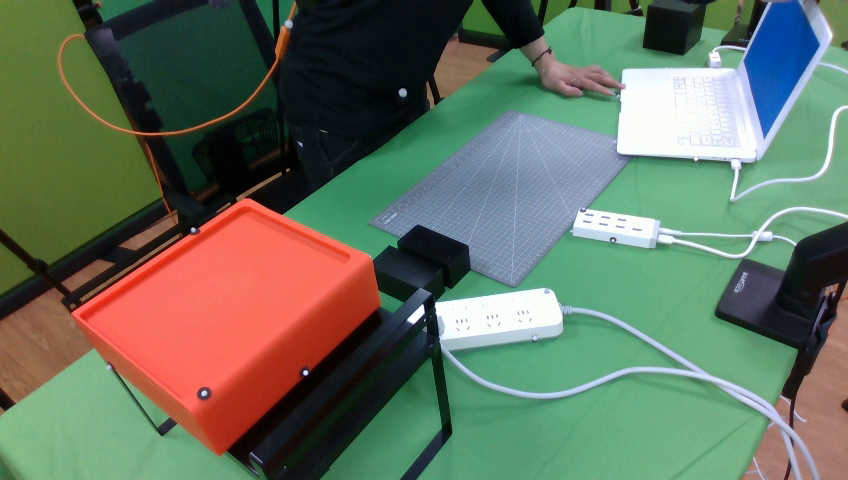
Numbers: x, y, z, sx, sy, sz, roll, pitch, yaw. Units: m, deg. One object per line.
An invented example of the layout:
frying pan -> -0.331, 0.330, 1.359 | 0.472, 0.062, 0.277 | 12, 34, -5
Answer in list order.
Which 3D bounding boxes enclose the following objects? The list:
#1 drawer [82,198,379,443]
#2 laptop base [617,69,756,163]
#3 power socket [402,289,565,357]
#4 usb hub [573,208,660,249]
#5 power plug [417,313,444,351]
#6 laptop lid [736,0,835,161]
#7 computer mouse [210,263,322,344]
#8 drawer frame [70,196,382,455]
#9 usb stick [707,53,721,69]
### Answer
drawer -> -0.185, 0.065, 0.600 | 0.193, 0.073, 0.212 | 24, 49, 31
laptop base -> 0.510, -0.254, 1.202 | 0.234, 0.023, 0.353 | 4, 41, 17
power socket -> 0.081, 0.112, 0.822 | 0.227, 0.033, 0.072 | -7, 41, 0
usb hub -> 0.302, -0.019, 0.950 | 0.124, 0.025, 0.049 | 11, 43, 20
power plug -> 0.007, 0.127, 0.786 | 0.035, 0.053, 0.072 | 0, 43, 8
laptop lid -> 0.636, -0.329, 1.090 | 0.013, 0.242, 0.356 | 15, 43, 6
computer mouse -> -0.164, 0.062, 0.624 | 0.116, 0.041, 0.063 | 23, 44, 27
drawer frame -> -0.186, 0.067, 0.597 | 0.200, 0.083, 0.214 | 23, 49, 30
usb stick -> 0.630, -0.382, 1.313 | 0.021, 0.027, 0.059 | 2, 47, 16
